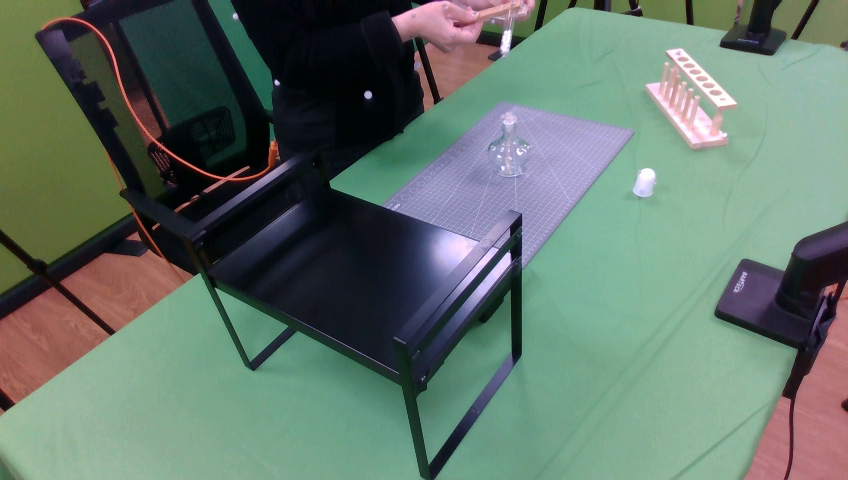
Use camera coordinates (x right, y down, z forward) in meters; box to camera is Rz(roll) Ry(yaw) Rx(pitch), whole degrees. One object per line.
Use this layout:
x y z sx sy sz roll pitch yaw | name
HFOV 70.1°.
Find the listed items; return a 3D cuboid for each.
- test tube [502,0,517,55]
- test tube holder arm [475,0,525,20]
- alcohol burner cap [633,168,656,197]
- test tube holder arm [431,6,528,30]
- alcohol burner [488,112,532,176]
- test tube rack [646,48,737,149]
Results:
0.141 -0.363 0.970 0.017 0.017 0.150 6 74 15 | test tube
0.122 -0.372 0.982 0.087 0.010 0.015 -2 60 40 | test tube holder arm
0.374 -0.099 1.018 0.034 0.048 0.033 0 42 1 | alcohol burner cap
0.089 -0.370 1.012 0.177 0.013 0.015 2 62 33 | test tube holder arm
0.155 -0.176 1.083 0.078 0.119 0.077 -3 41 3 | alcohol burner
0.511 -0.280 1.175 0.067 0.085 0.241 -8 41 1 | test tube rack
